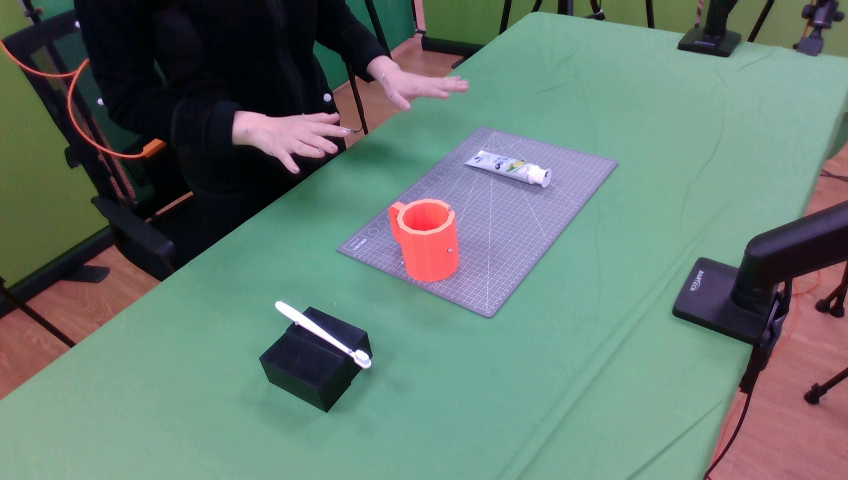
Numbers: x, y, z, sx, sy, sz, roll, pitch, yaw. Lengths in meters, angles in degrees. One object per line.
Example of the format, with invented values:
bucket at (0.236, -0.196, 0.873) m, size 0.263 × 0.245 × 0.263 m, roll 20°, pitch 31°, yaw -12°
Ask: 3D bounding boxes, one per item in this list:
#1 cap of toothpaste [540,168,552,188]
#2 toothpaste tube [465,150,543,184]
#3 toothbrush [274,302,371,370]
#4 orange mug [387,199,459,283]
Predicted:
cap of toothpaste at (0.213, -0.109, 1.059) m, size 0.011 × 0.037 × 0.037 m, roll 19°, pitch 47°, yaw 27°
toothpaste tube at (0.154, -0.135, 1.108) m, size 0.163 × 0.034 × 0.055 m, roll 23°, pitch 43°, yaw 36°
toothbrush at (-0.135, 0.119, 0.783) m, size 0.180 × 0.017 × 0.014 m, roll 25°, pitch 53°, yaw 32°
orange mug at (-0.006, -0.007, 0.923) m, size 0.125 × 0.101 × 0.084 m, roll 32°, pitch 54°, yaw 32°
